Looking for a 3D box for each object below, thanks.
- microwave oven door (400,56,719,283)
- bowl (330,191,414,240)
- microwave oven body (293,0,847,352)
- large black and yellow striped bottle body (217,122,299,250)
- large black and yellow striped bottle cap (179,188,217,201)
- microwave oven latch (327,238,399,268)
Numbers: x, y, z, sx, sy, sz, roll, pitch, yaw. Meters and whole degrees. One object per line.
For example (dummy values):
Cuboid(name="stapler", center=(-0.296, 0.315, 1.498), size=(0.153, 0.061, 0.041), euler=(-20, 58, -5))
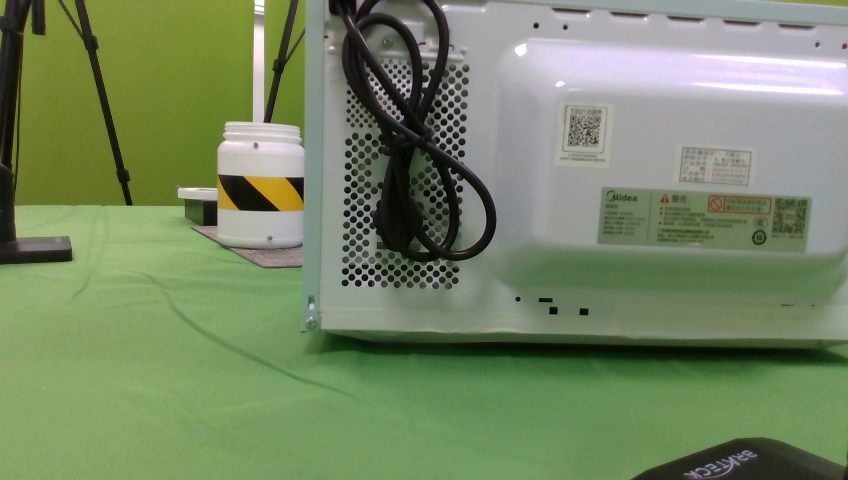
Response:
Cuboid(name="microwave oven door", center=(0.155, -0.077, 0.698), size=(0.356, 0.243, 0.039), euler=(2, 8, -5))
Cuboid(name="bowl", center=(-0.095, -0.044, 1.096), size=(0.151, 0.077, 0.151), euler=(3, 8, 0))
Cuboid(name="microwave oven body", center=(0.122, -0.055, 0.550), size=(0.442, 0.260, 0.325), euler=(3, 7, -5))
Cuboid(name="large black and yellow striped bottle body", center=(-0.250, -0.084, 0.931), size=(0.131, 0.184, 0.130), euler=(2, 7, 0))
Cuboid(name="large black and yellow striped bottle cap", center=(-0.434, -0.093, 1.226), size=(0.115, 0.019, 0.115), euler=(3, 9, 0))
Cuboid(name="microwave oven latch", center=(-0.069, 0.015, 0.694), size=(0.079, 0.029, 0.030), euler=(3, 7, -3))
